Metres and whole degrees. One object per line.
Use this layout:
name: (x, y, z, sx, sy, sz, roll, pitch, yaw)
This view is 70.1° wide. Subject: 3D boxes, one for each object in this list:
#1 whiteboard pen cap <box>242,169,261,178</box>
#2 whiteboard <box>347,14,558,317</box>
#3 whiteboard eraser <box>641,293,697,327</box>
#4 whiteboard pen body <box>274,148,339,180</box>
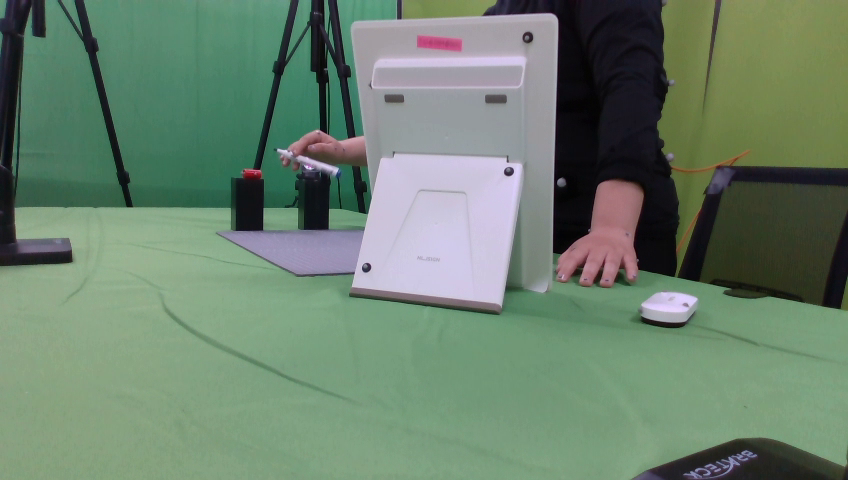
whiteboard pen cap: (-0.327, -0.126, 1.144, 0.032, 0.017, 0.017, -1, 8, -36)
whiteboard: (0.012, -0.056, 0.609, 0.216, 0.305, 0.144, 5, 27, 20)
whiteboard eraser: (0.240, 0.066, 0.590, 0.041, 0.019, 0.102, 6, 7, 31)
whiteboard pen body: (-0.231, -0.151, 1.183, 0.140, 0.017, 0.017, 25, 9, 4)
